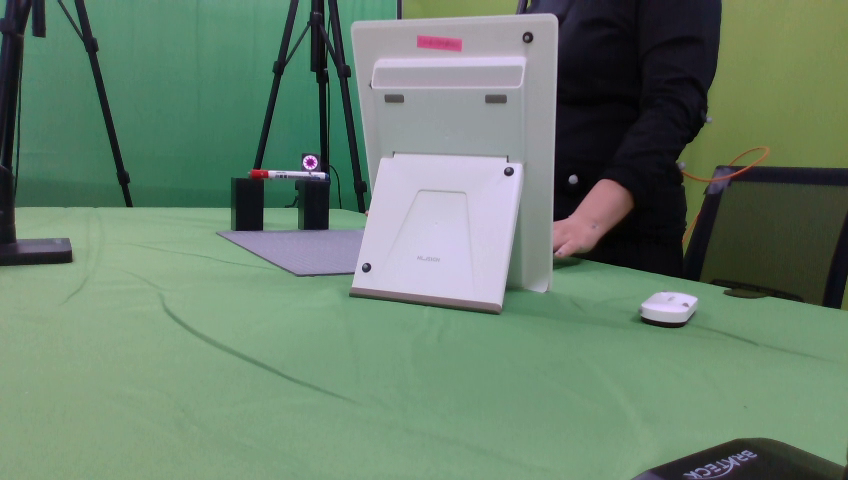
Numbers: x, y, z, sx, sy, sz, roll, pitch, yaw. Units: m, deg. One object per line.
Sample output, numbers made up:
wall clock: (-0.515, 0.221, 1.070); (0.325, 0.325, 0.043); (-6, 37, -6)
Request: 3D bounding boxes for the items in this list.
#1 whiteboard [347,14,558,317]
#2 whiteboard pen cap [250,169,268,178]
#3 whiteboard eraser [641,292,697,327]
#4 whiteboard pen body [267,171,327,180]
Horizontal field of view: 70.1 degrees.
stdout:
whiteboard: (0.012, -0.056, 0.609); (0.216, 0.305, 0.144); (5, 27, 20)
whiteboard pen cap: (-0.315, -0.127, 1.155); (0.032, 0.017, 0.017); (0, 7, -24)
whiteboard eraser: (0.240, 0.066, 0.590); (0.041, 0.019, 0.102); (6, 7, 31)
whiteboard pen body: (-0.260, -0.126, 1.181); (0.141, 0.017, 0.017); (-2, 8, -26)
